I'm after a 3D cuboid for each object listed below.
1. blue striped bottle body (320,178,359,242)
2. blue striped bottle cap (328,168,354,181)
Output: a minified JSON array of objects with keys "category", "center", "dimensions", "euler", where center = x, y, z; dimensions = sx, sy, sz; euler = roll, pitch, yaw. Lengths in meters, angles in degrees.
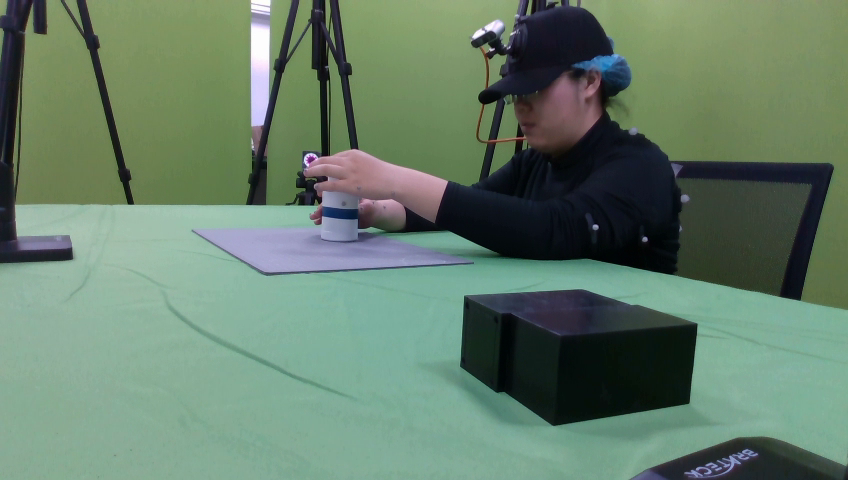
[{"category":"blue striped bottle body","center":[-0.142,-0.060,1.020],"dimensions":[0.063,0.120,0.063],"euler":[3,7,0]},{"category":"blue striped bottle cap","center":[-0.139,-0.110,1.013],"dimensions":[0.044,0.020,0.044],"euler":[1,7,0]}]
